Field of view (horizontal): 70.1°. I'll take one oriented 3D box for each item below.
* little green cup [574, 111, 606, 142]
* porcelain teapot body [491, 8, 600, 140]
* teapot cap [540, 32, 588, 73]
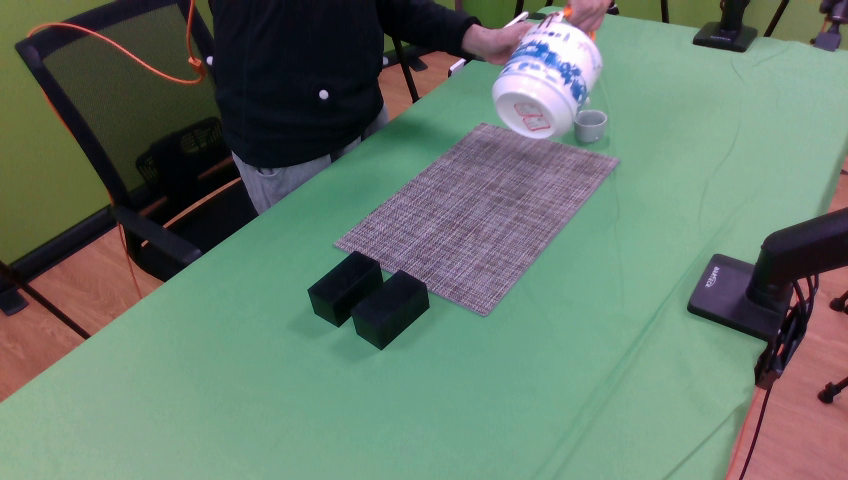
[{"bbox_3d":[0.318,-0.217,1.164,0.061,0.039,0.061,-3,41,3],"label":"little green cup"},{"bbox_3d":[0.231,-0.274,1.038,0.144,0.207,0.225,16,66,38],"label":"porcelain teapot body"},{"bbox_3d":[0.239,-0.322,1.028,0.084,0.086,0.044,20,66,29],"label":"teapot cap"}]
